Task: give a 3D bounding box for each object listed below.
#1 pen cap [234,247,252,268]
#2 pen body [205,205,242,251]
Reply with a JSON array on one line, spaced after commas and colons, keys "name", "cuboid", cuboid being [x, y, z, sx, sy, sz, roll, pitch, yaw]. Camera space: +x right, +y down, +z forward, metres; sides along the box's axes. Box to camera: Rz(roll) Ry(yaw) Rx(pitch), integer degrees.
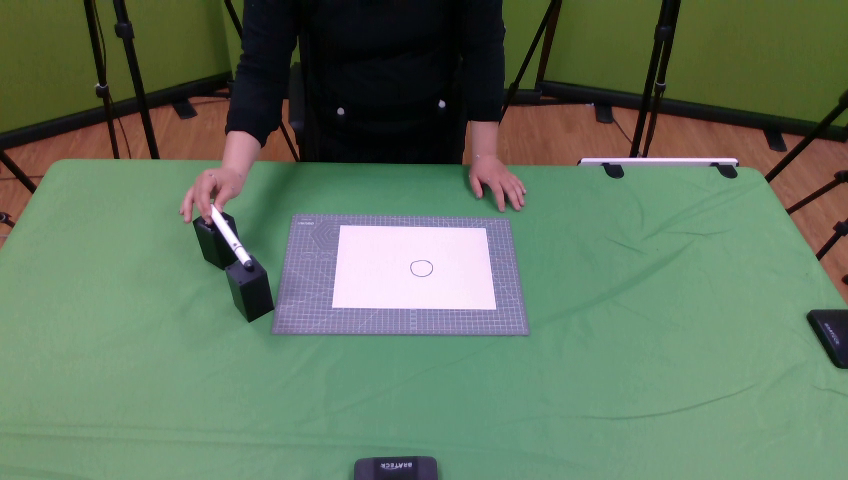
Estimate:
[{"name": "pen cap", "cuboid": [-0.302, 0.029, 1.010, 0.017, 0.017, 0.038, -28, 60, -28]}, {"name": "pen body", "cuboid": [-0.339, -0.012, 1.040, 0.017, 0.017, 0.143, -27, 56, -27]}]
